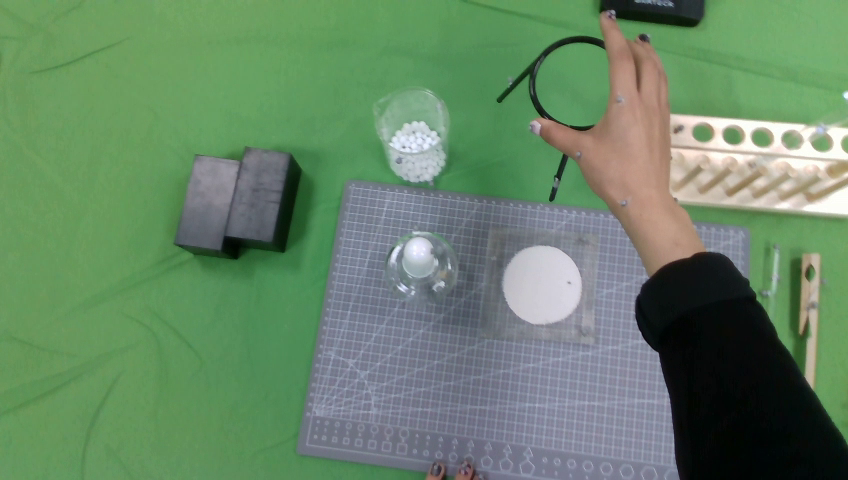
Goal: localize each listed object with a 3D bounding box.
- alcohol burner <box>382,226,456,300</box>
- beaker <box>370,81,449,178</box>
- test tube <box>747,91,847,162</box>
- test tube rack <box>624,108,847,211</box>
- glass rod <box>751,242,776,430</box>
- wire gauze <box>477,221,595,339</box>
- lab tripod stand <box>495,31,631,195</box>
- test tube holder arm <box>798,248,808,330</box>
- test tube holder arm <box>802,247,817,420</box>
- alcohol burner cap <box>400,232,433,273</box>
[{"bbox_3d":[-0.006,0.019,0.607,0.078,0.119,0.077,-1,75,2],"label":"alcohol burner"},{"bbox_3d":[-0.015,-0.113,0.647,0.084,0.101,0.074,25,79,8],"label":"beaker"},{"bbox_3d":[0.365,-0.107,0.592,0.017,0.150,0.017,1,78,-4],"label":"test tube"},{"bbox_3d":[0.346,-0.082,0.638,0.242,0.085,0.066,5,78,3],"label":"test tube rack"},{"bbox_3d":[0.358,0.099,0.638,0.008,0.008,0.199,10,81,4],"label":"glass rod"},{"bbox_3d":[0.123,0.043,0.653,0.121,0.011,0.124,5,81,2],"label":"wire gauze"},{"bbox_3d":[0.133,-0.130,0.587,0.148,0.132,0.148,-1,81,4],"label":"lab tripod stand"},{"bbox_3d":[0.402,0.052,0.643,0.010,0.015,0.087,-1,76,37],"label":"test tube holder arm"},{"bbox_3d":[0.401,0.095,0.630,0.013,0.015,0.177,-1,76,36],"label":"test tube holder arm"},{"bbox_3d":[-0.007,0.009,0.573,0.034,0.048,0.033,1,69,-2],"label":"alcohol burner cap"}]
